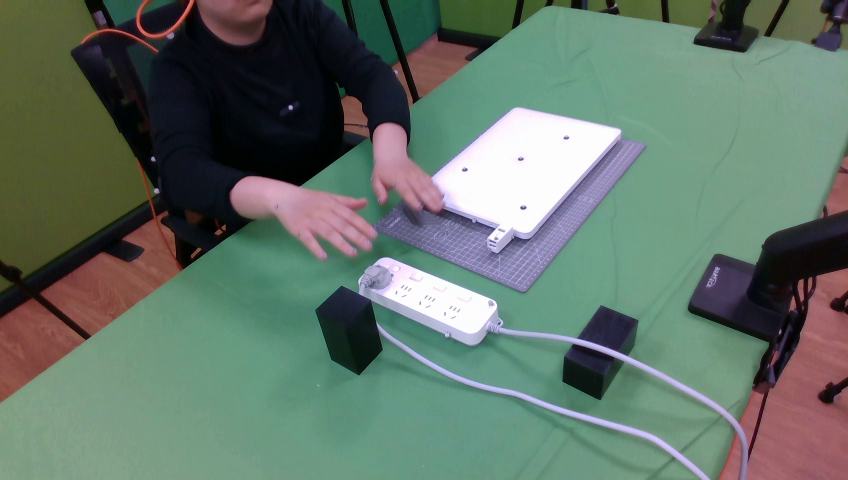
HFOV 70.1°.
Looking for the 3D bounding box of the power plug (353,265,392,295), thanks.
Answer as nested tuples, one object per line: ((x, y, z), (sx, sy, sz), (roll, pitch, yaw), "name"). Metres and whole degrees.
((-0.078, 0.064, 0.867), (0.073, 0.053, 0.035), (-38, 48, -26), "power plug")

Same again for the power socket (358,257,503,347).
((0.003, 0.084, 0.862), (0.225, 0.033, 0.072), (21, 49, 29), "power socket")

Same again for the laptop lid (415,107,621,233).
((0.175, -0.144, 1.094), (0.239, 0.013, 0.358), (23, 49, 33), "laptop lid")

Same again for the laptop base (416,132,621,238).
((0.179, -0.134, 1.100), (0.233, 0.023, 0.355), (20, 47, 33), "laptop base")

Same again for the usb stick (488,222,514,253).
((0.124, -0.008, 0.944), (0.021, 0.027, 0.059), (25, 47, 31), "usb stick")
